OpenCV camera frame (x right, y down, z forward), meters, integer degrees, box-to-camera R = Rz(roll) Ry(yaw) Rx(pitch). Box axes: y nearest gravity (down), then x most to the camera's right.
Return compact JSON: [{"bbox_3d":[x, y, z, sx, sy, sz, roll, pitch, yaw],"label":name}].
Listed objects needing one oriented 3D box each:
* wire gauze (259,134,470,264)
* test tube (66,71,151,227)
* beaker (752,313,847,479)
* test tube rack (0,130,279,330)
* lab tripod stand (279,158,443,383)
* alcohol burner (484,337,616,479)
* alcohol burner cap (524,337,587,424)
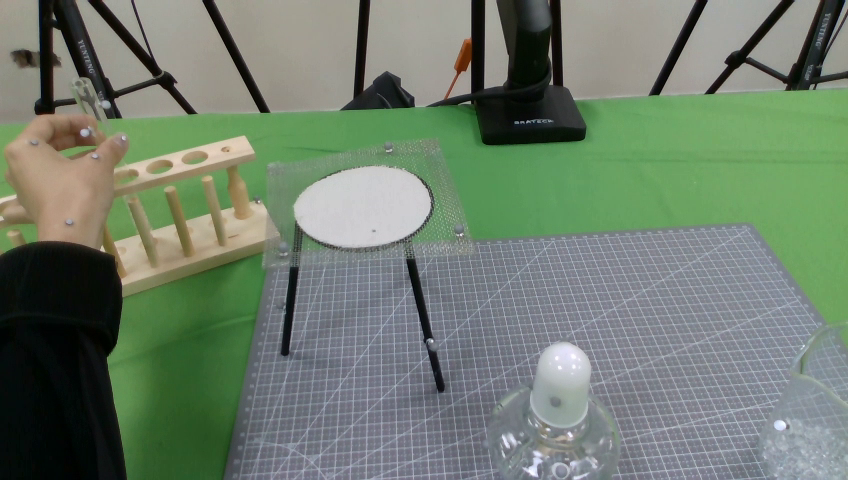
[{"bbox_3d":[-0.043,-0.029,0.387,0.125,0.011,0.120,-8,41,-6],"label":"wire gauze"},{"bbox_3d":[-0.256,-0.067,0.500,0.017,0.151,0.017,-1,43,1],"label":"test tube"},{"bbox_3d":[0.241,0.103,0.354,0.084,0.101,0.073,4,41,8],"label":"beaker"},{"bbox_3d":[-0.258,-0.012,0.518,0.243,0.086,0.066,-19,44,-20],"label":"test tube rack"},{"bbox_3d":[-0.041,0.022,0.431,0.148,0.133,0.147,-1,43,2],"label":"lab tripod stand"},{"bbox_3d":[0.074,0.101,0.351,0.078,0.120,0.077,-1,39,1],"label":"alcohol burner"},{"bbox_3d":[0.072,0.073,0.328,0.034,0.048,0.033,-2,43,2],"label":"alcohol burner cap"}]
